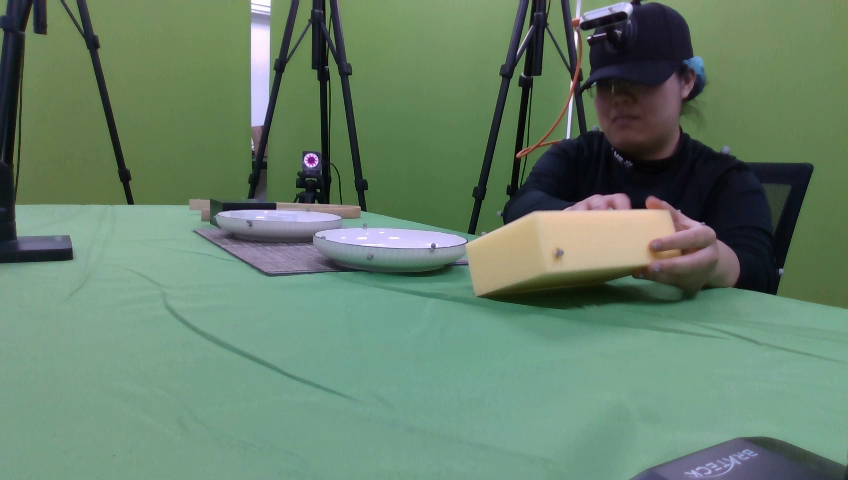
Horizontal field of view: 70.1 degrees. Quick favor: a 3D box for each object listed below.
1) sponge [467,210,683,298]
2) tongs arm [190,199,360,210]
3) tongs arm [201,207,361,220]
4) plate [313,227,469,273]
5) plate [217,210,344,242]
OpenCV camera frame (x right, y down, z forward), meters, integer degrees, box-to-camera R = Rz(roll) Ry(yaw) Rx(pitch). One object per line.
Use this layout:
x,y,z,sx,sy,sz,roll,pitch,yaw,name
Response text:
0.164,0.015,0.655,0.208,0.061,0.118,-3,-14,-34,sponge
-0.341,-0.075,1.419,0.387,0.026,0.050,0,8,-25,tongs arm
-0.302,-0.060,1.350,0.390,0.028,0.028,-3,7,-38,tongs arm
-0.044,0.012,0.808,0.209,0.038,0.209,2,7,0,plate
-0.241,-0.024,1.026,0.208,0.039,0.207,3,7,0,plate
